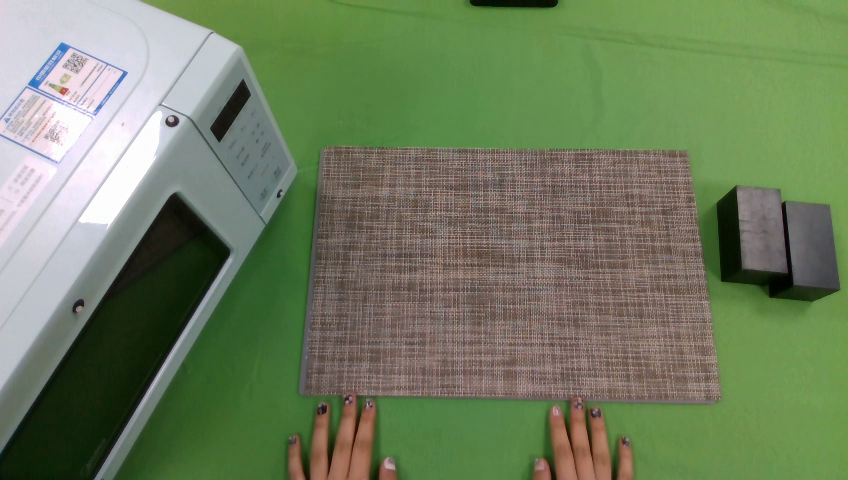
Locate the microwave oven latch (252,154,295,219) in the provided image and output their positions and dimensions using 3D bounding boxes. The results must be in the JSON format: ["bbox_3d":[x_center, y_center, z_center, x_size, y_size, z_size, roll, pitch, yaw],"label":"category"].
[{"bbox_3d":[-0.178,-0.066,0.698,0.030,0.029,0.079,24,74,7],"label":"microwave oven latch"}]

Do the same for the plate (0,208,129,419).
[{"bbox_3d":[-0.382,0.070,0.592,0.209,0.038,0.207,-3,69,8],"label":"plate"}]

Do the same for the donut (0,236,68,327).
[{"bbox_3d":[-0.410,0.041,0.607,0.099,0.048,0.098,2,56,-3],"label":"donut"}]

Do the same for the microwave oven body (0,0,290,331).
[{"bbox_3d":[-0.389,-0.007,0.575,0.325,0.261,0.440,24,74,7],"label":"microwave oven body"}]

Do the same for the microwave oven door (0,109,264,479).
[{"bbox_3d":[-0.275,0.087,0.538,0.039,0.245,0.354,24,73,9],"label":"microwave oven door"}]
